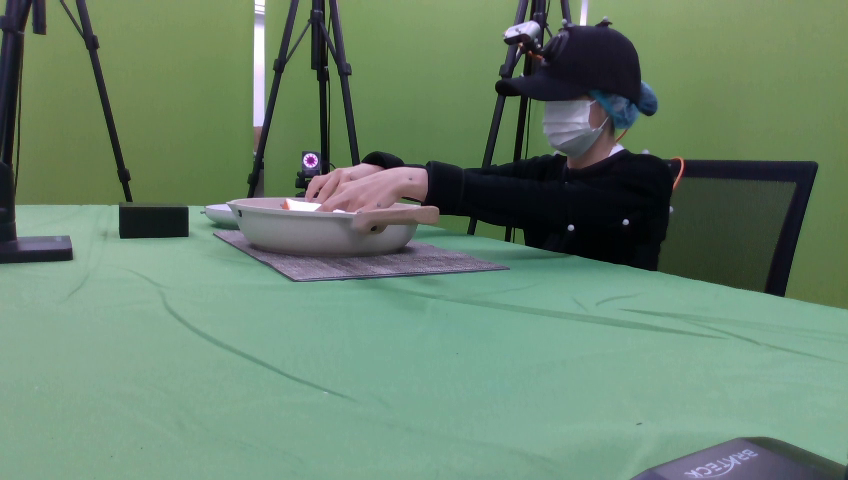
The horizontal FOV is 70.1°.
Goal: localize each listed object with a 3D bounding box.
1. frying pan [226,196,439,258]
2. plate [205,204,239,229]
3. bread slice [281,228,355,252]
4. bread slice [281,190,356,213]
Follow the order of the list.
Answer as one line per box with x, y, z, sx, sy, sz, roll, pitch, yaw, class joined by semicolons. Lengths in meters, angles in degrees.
-0.103;-0.027;0.845;0.308;0.102;0.486;-2;0;-25;frying pan
-0.324;-0.046;1.199;0.208;0.039;0.207;3;7;0;plate
-0.170;-0.002;0.943;0.107;0.018;0.134;2;9;-15;bread slice
-0.169;-0.047;0.934;0.105;0.019;0.131;17;-11;-18;bread slice
